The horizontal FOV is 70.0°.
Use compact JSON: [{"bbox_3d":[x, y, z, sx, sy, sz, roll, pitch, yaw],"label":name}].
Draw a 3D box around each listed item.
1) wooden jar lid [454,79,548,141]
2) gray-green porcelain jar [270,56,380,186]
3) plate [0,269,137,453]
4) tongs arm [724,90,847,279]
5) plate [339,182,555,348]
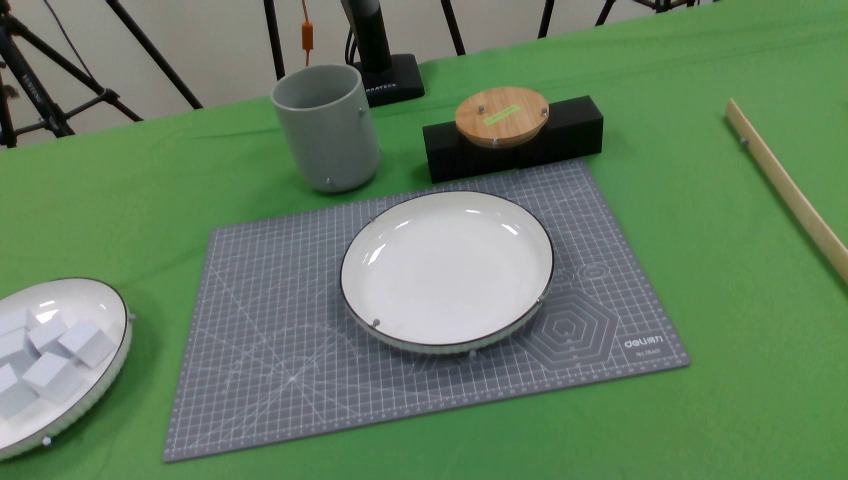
[{"bbox_3d":[0.089,-0.150,0.699,0.108,0.021,0.107,-5,45,6],"label":"wooden jar lid"},{"bbox_3d":[-0.113,-0.137,0.725,0.106,0.128,0.105,-6,44,6],"label":"gray-green porcelain jar"},{"bbox_3d":[-0.379,0.116,0.588,0.207,0.039,0.205,-6,44,6],"label":"plate"},{"bbox_3d":[0.378,-0.039,0.592,0.028,0.028,0.383,-7,44,2],"label":"tongs arm"},{"bbox_3d":[0.022,0.023,0.593,0.209,0.038,0.207,-6,44,6],"label":"plate"}]
